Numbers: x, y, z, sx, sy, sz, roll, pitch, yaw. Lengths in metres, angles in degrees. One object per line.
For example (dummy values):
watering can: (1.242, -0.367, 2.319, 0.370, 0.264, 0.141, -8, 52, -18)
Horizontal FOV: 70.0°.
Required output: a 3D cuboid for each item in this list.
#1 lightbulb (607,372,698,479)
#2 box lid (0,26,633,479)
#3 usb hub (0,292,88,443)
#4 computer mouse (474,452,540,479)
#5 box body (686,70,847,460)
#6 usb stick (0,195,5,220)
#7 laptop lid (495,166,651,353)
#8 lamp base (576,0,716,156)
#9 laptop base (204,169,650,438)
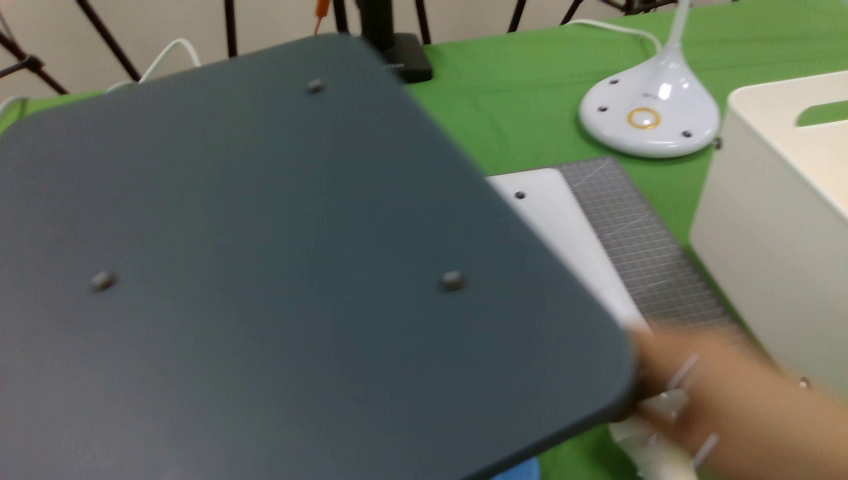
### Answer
lightbulb: (0.162, 0.143, 0.412, 0.059, 0.060, 0.106, -7, 61, -4)
box lid: (-0.096, -0.014, 0.330, 0.263, 0.015, 0.367, -20, 46, -13)
usb hub: (-0.310, 0.098, 0.488, 0.049, 0.025, 0.123, -10, 45, -6)
computer mouse: (0.039, 0.179, 0.387, 0.062, 0.041, 0.116, 6, 41, 11)
box body: (0.391, 0.037, 0.430, 0.254, 0.162, 0.360, -10, 45, -8)
usb stick: (-0.394, -0.021, 0.538, 0.021, 0.027, 0.058, -9, 47, -11)
laptop lid: (-0.011, 0.032, 0.533, 0.357, 0.013, 0.239, -9, 47, -7)
lamp base: (0.264, -0.214, 0.676, 0.160, 0.182, 0.178, 14, 45, 16)
laptop base: (-0.011, 0.039, 0.543, 0.355, 0.023, 0.233, -10, 49, -8)
